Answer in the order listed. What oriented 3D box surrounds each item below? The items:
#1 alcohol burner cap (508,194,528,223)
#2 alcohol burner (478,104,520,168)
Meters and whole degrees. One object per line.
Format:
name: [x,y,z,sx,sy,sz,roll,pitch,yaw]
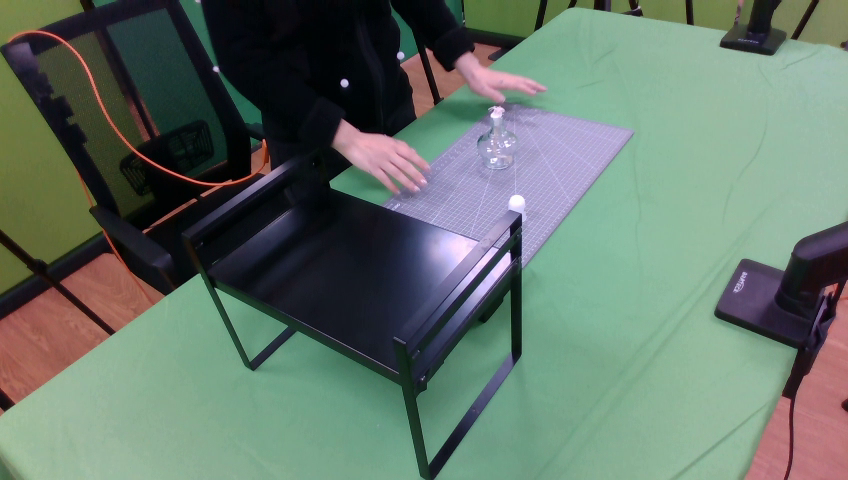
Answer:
alcohol burner cap: [0.155,-0.054,0.996,0.034,0.048,0.033,-4,39,4]
alcohol burner: [0.136,-0.193,1.106,0.078,0.119,0.077,-5,39,4]
